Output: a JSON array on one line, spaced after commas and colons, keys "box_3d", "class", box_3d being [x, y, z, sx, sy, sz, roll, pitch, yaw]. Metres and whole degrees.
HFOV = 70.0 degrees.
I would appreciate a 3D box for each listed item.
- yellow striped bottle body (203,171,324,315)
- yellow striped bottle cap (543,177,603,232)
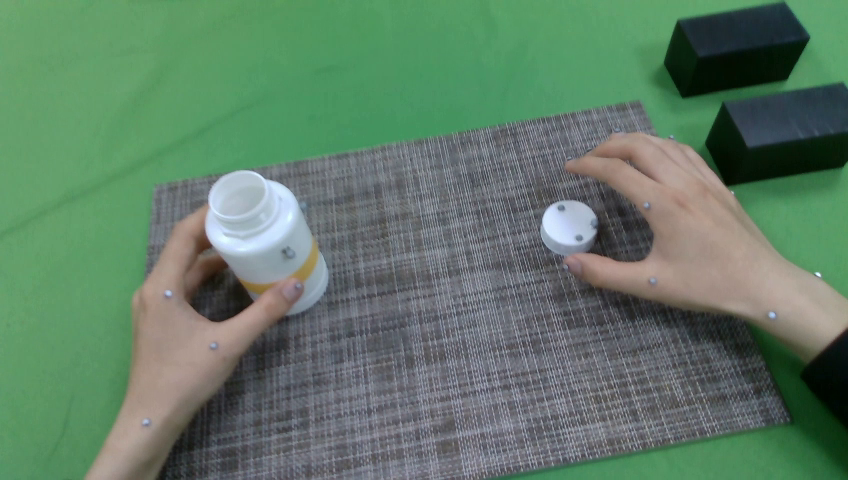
[{"box_3d": [-0.115, 0.002, 0.434, 0.063, 0.121, 0.062, -2, 59, 4], "class": "yellow striped bottle body"}, {"box_3d": [0.114, -0.027, 0.467, 0.044, 0.019, 0.044, -4, 48, 5], "class": "yellow striped bottle cap"}]
